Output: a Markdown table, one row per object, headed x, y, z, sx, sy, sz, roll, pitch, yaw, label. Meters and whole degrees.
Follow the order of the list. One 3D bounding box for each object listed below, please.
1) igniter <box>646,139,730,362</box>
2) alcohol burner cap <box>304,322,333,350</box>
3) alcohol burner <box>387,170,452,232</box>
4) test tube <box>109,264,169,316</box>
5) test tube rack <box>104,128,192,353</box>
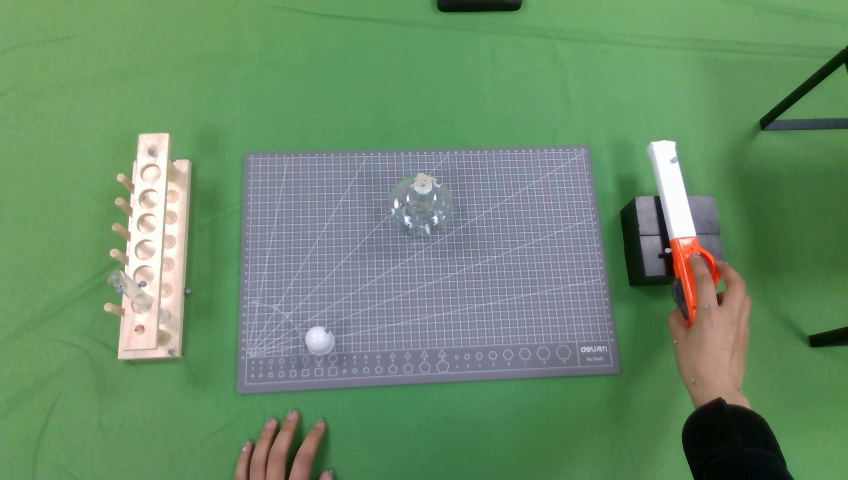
| x | y | z | sx | sy | sz | roll | pitch | yaw | label |
| --- | --- | --- | --- | --- | --- | --- | --- | --- | --- |
| 0.306 | 0.006 | 0.712 | 0.057 | 0.025 | 0.274 | -4 | 71 | -3 | igniter |
| -0.123 | 0.108 | 0.692 | 0.034 | 0.048 | 0.033 | 2 | 74 | -5 | alcohol burner cap |
| -0.004 | -0.052 | 0.709 | 0.078 | 0.119 | 0.077 | 1 | 74 | -2 | alcohol burner |
| -0.290 | 0.054 | 0.623 | 0.017 | 0.151 | 0.017 | 3 | 69 | -6 | test tube |
| -0.316 | 0.002 | 0.687 | 0.067 | 0.085 | 0.241 | -2 | 74 | -4 | test tube rack |
